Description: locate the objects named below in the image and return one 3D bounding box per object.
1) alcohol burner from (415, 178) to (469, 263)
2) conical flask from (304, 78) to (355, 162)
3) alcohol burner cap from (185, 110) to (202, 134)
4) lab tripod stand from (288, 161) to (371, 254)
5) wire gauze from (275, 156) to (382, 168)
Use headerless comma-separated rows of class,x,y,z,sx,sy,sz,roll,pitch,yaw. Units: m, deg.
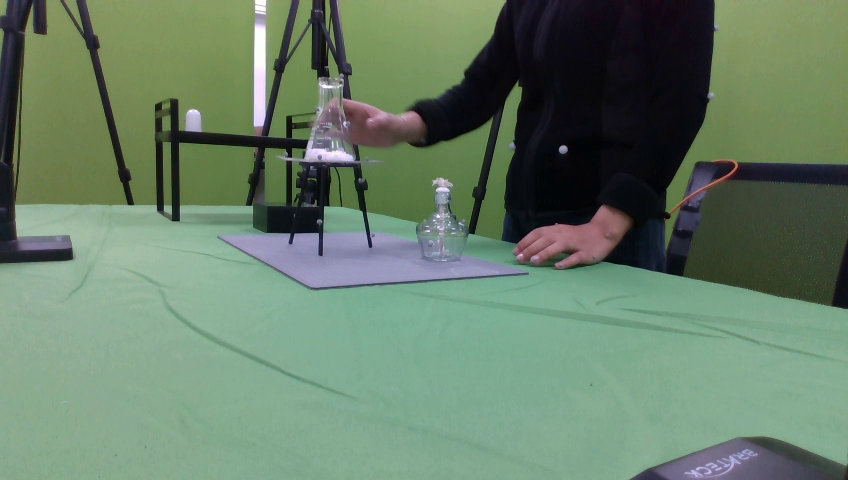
alcohol burner,0.026,-0.028,0.863,0.078,0.119,0.078,1,6,0
conical flask,-0.139,-0.175,0.893,0.075,0.122,0.075,2,8,0
alcohol burner cap,-0.470,-0.242,1.234,0.034,0.048,0.034,3,7,0
lab tripod stand,-0.148,-0.052,0.909,0.148,0.131,0.148,1,8,0
wire gauze,-0.142,-0.116,0.900,0.122,0.011,0.124,-1,5,-37
